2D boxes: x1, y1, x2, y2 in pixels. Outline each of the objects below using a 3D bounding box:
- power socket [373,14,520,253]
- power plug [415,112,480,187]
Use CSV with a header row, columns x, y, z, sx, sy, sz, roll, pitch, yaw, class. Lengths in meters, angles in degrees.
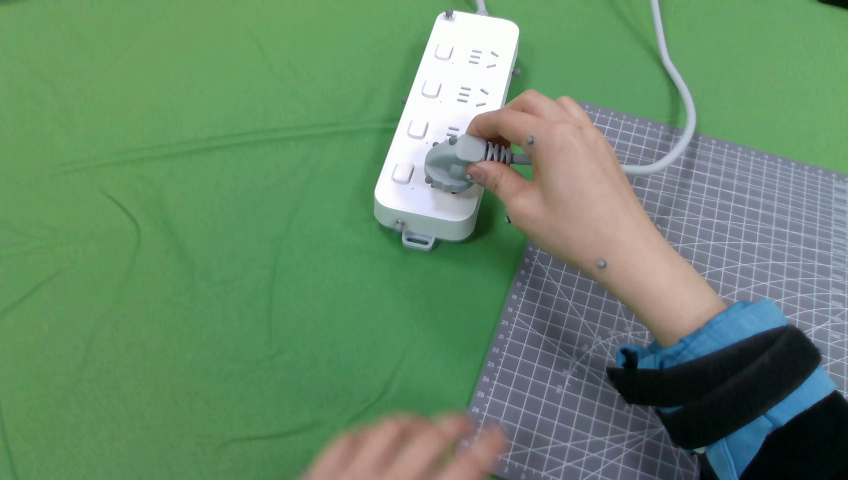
x,y,z,sx,sy,sz,roll,pitch,yaw,class
0.022,-0.092,0.461,0.072,0.033,0.225,13,59,6,power socket
0.019,-0.059,0.372,0.035,0.072,0.052,31,83,-3,power plug
